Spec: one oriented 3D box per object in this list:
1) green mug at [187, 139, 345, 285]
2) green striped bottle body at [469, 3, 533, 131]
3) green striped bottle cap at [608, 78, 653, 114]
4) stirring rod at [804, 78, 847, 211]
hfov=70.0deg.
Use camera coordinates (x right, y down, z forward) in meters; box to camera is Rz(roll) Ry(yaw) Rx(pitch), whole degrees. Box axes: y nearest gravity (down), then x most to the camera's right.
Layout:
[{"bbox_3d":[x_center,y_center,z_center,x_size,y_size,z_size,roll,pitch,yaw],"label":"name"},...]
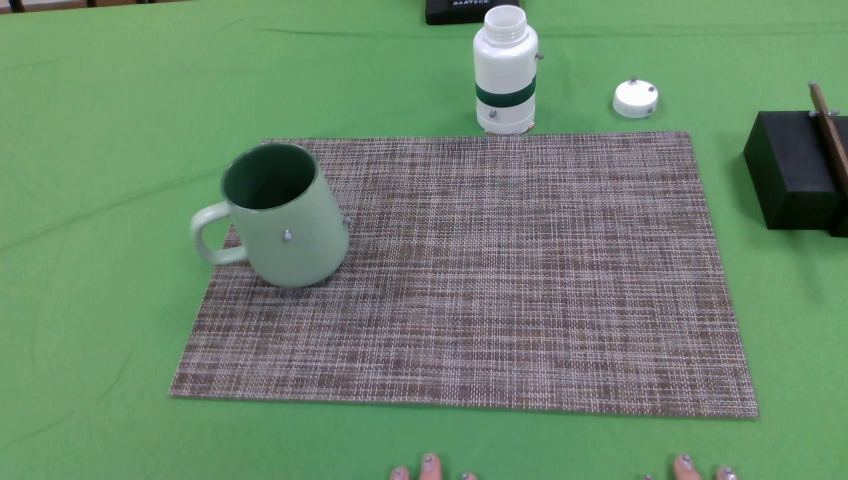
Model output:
[{"bbox_3d":[-0.136,-0.016,0.519,0.125,0.106,0.091,-21,53,-9],"label":"green mug"},{"bbox_3d":[0.078,-0.174,0.611,0.063,0.120,0.062,-4,52,5],"label":"green striped bottle body"},{"bbox_3d":[0.219,-0.153,0.642,0.044,0.020,0.044,-2,48,3],"label":"green striped bottle cap"},{"bbox_3d":[0.341,-0.076,0.506,0.006,0.014,0.174,0,52,13],"label":"stirring rod"}]
